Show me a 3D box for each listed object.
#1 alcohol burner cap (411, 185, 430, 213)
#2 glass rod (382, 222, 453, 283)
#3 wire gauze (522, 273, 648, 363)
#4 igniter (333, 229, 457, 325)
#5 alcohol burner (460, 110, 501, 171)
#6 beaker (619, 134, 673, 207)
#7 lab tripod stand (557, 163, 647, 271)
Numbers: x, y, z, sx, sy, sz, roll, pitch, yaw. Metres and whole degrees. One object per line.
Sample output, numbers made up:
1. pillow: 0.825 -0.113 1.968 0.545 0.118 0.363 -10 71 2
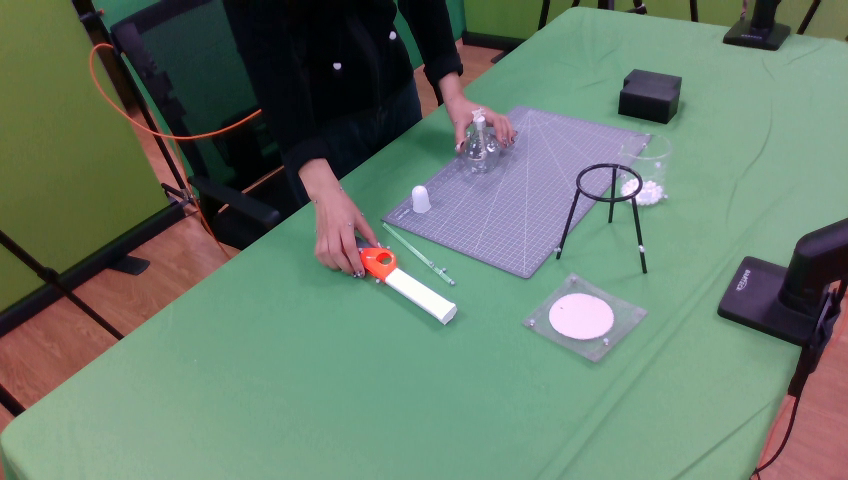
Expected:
1. alcohol burner cap: -0.008 -0.074 1.050 0.034 0.048 0.033 -4 41 4
2. glass rod: -0.014 0.016 0.976 0.008 0.008 0.198 -30 44 -22
3. wire gauze: 0.220 0.105 0.828 0.125 0.011 0.120 -35 47 -30
4. igniter: -0.055 0.049 0.929 0.057 0.025 0.274 -43 49 -19
5. alcohol burner: 0.103 -0.186 1.105 0.078 0.119 0.077 -4 42 4
6. beaker: 0.357 -0.111 0.986 0.084 0.101 0.073 -10 40 1
7. lab tripod stand: 0.271 -0.034 0.885 0.148 0.132 0.147 -4 40 4
